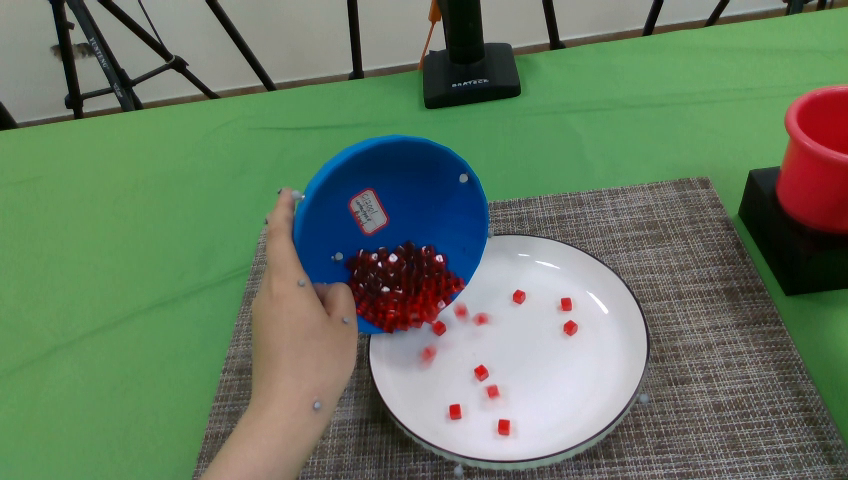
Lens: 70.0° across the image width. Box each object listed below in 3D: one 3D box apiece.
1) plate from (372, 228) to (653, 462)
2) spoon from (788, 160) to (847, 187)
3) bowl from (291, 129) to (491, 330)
[{"bbox_3d":[0.065,0.075,0.466,0.207,0.039,0.205,-6,45,6],"label":"plate"},{"bbox_3d":[0.311,-0.058,0.394,0.041,0.194,0.021,-25,86,-5],"label":"spoon"},{"bbox_3d":[-0.034,-0.016,0.460,0.151,0.153,0.076,-26,31,-15],"label":"bowl"}]
